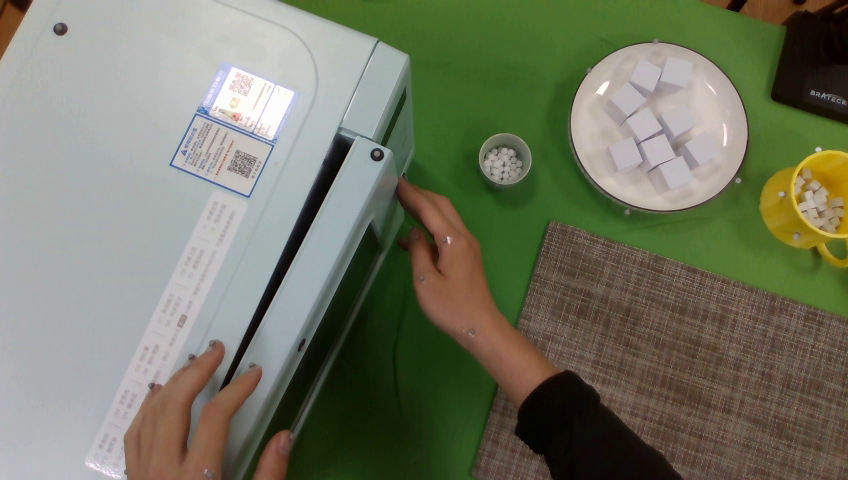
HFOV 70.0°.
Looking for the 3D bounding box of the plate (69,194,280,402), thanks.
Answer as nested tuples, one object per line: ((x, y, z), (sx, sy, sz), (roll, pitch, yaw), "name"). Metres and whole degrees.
((-0.249, 0.058, 0.619), (0.209, 0.038, 0.208), (0, 82, 0), "plate")

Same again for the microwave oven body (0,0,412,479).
((-0.243, 0.001, 0.574), (0.326, 0.261, 0.440), (22, 82, 3), "microwave oven body")

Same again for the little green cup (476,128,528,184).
((0.089, -0.095, 0.706), (0.061, 0.039, 0.061), (0, 82, 0), "little green cup")

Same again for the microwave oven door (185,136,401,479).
((-0.116, 0.098, 0.555), (0.039, 0.244, 0.355), (25, 82, 4), "microwave oven door")

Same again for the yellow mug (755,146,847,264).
((0.449, -0.035, 0.689), (0.100, 0.064, 0.130), (-18, 83, -3), "yellow mug")

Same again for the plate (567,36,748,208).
((0.271, -0.136, 0.716), (0.208, 0.039, 0.207), (0, 81, 0), "plate")

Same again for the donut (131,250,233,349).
((-0.240, 0.058, 0.604), (0.099, 0.048, 0.099), (0, 85, -3), "donut")

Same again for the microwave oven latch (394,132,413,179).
((-0.039, -0.090, 0.687), (0.030, 0.029, 0.079), (26, 83, 3), "microwave oven latch")
